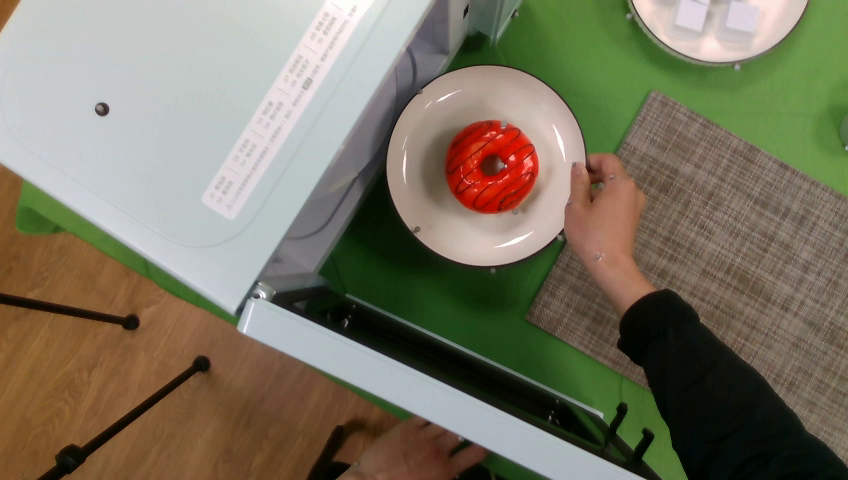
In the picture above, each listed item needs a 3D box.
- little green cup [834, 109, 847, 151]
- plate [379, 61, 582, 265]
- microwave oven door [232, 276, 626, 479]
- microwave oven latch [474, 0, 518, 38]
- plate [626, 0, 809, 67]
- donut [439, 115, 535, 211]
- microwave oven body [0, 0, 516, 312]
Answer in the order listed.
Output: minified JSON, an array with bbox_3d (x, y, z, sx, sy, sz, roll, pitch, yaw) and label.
[{"bbox_3d":[0.497,-0.126,0.678,0.061,0.038,0.061,0,88,1],"label":"little green cup"},{"bbox_3d":[0.058,-0.079,0.635,0.209,0.038,0.209,0,94,2],"label":"plate"},{"bbox_3d":[0.024,0.128,0.563,0.356,0.244,0.039,25,89,2],"label":"microwave oven door"},{"bbox_3d":[0.087,-0.266,0.669,0.030,0.029,0.079,37,91,1],"label":"microwave oven latch"},{"bbox_3d":[0.325,-0.295,0.684,0.208,0.039,0.207,0,89,1],"label":"plate"},{"bbox_3d":[0.064,-0.079,0.623,0.099,0.048,0.099,0,93,8],"label":"donut"},{"bbox_3d":[-0.136,-0.199,0.577,0.326,0.260,0.441,33,90,1],"label":"microwave oven body"}]
